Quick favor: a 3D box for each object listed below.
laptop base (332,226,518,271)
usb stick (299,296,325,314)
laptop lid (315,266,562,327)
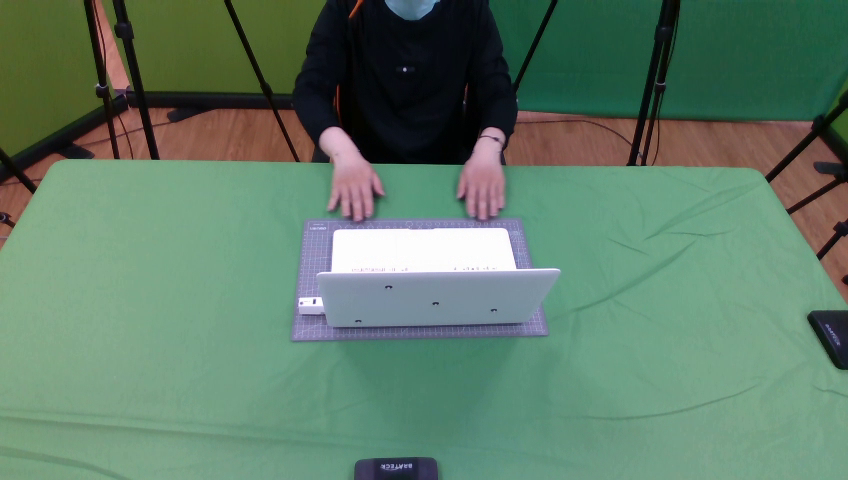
[{"bbox_3d":[0.004,0.062,1.136,0.355,0.023,0.234,-1,43,-4],"label":"laptop base"},{"bbox_3d":[-0.187,0.114,1.058,0.059,0.027,0.021,2,45,-4],"label":"usb stick"},{"bbox_3d":[0.018,0.094,0.949,0.357,0.242,0.013,0,64,-6],"label":"laptop lid"}]
